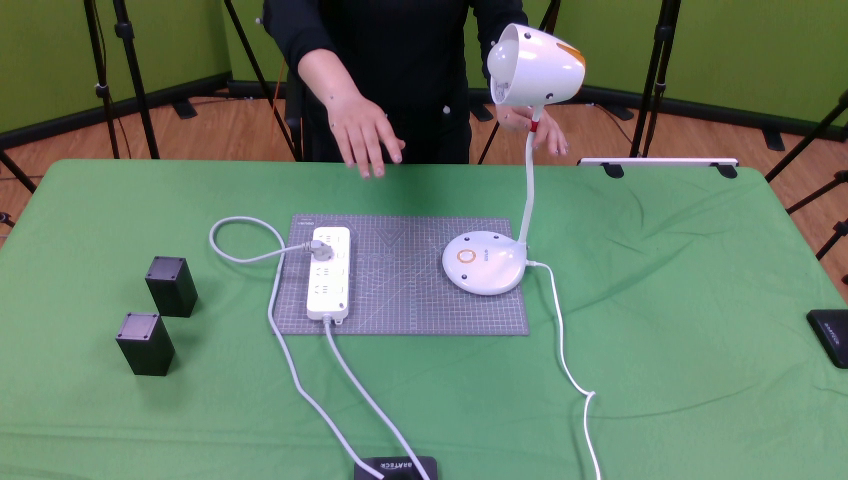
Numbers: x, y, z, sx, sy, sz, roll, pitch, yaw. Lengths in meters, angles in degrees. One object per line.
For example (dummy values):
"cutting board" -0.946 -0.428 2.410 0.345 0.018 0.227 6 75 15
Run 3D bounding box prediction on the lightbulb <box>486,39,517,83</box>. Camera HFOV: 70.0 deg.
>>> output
"lightbulb" 0.142 -0.251 0.864 0.108 0.060 0.059 9 45 -7

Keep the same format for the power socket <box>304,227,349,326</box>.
"power socket" -0.177 0.058 1.115 0.072 0.033 0.225 -1 46 -4

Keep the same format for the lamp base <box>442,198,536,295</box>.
"lamp base" 0.130 -0.012 1.105 0.179 0.181 0.159 -1 46 -9

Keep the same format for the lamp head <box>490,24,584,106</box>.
"lamp head" 0.165 -0.241 0.872 0.123 0.113 0.111 9 43 -17

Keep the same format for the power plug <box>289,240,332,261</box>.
"power plug" -0.207 0.022 1.123 0.072 0.053 0.035 6 44 6
